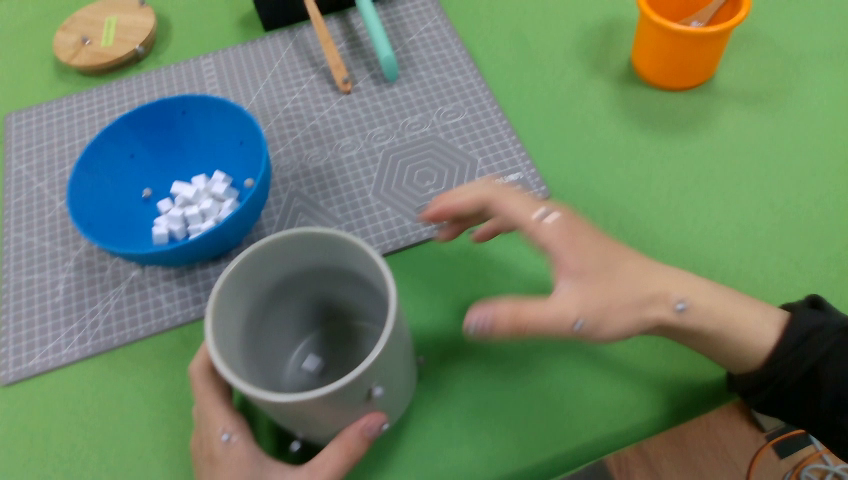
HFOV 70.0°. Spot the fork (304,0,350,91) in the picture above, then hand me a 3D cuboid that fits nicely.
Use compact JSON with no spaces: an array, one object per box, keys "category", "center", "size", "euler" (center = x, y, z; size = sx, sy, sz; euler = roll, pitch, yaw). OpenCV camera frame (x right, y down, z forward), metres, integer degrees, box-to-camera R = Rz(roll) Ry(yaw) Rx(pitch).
[{"category":"fork","center":[-0.114,-0.236,0.589],"size":[0.028,0.019,0.206],"euler":[-21,78,-12]}]

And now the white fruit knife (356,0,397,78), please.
[{"category":"white fruit knife","center":[-0.067,-0.250,0.595],"size":[0.016,0.027,0.206],"euler":[-20,73,-7]}]

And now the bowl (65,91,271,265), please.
[{"category":"bowl","center":[-0.186,-0.036,0.478],"size":[0.151,0.077,0.150],"euler":[-3,59,5]}]

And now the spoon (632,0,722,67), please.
[{"category":"spoon","center":[0.259,-0.211,0.501],"size":[0.022,0.194,0.041],"euler":[11,53,-41]}]

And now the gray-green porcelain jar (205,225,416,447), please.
[{"category":"gray-green porcelain jar","center":[-0.061,0.067,0.379],"size":[0.106,0.127,0.105],"euler":[-3,58,5]}]

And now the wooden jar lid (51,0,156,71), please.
[{"category":"wooden jar lid","center":[-0.334,-0.217,0.639],"size":[0.108,0.021,0.107],"euler":[-1,59,3]}]
